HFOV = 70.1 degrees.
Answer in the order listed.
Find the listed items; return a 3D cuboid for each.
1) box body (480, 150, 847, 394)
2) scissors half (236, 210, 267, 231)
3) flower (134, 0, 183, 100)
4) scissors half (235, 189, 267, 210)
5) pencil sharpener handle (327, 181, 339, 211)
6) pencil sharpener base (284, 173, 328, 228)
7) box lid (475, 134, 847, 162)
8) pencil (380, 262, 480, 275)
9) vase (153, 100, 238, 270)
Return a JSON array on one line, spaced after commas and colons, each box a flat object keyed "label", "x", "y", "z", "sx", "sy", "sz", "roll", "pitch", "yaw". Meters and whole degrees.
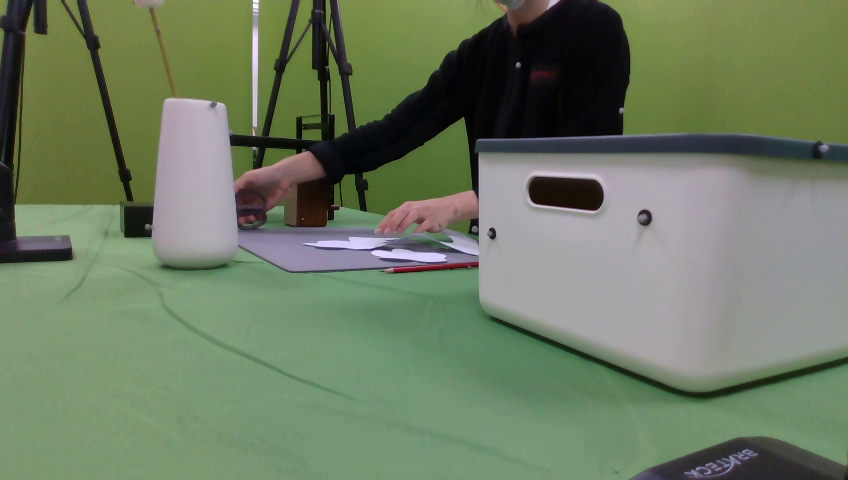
[{"label": "box body", "x": 0.254, "y": 0.002, "z": 0.539, "sx": 0.366, "sy": 0.160, "sz": 0.253, "roll": -2, "pitch": 8, "yaw": -31}, {"label": "scissors half", "x": -0.367, "y": -0.043, "z": 1.071, "sx": 0.176, "sy": 0.040, "sz": 0.012, "roll": 8, "pitch": 7, "yaw": -30}, {"label": "flower", "x": -0.282, "y": -0.147, "z": 0.713, "sx": 0.038, "sy": 0.362, "sz": 0.044, "roll": -23, "pitch": 24, "yaw": -31}, {"label": "scissors half", "x": -0.366, "y": -0.063, "z": 1.068, "sx": 0.176, "sy": 0.040, "sz": 0.013, "roll": -13, "pitch": 11, "yaw": -28}, {"label": "pencil sharpener handle", "x": -0.194, "y": -0.094, "z": 1.256, "sx": 0.031, "sy": 0.067, "sz": 0.036, "roll": -2, "pitch": -6, "yaw": -36}, {"label": "pencil sharpener base", "x": -0.239, "y": -0.081, "z": 1.231, "sx": 0.077, "sy": 0.107, "sz": 0.061, "roll": -2, "pitch": 8, "yaw": -36}, {"label": "box lid", "x": 0.256, "y": -0.073, "z": 0.528, "sx": 0.373, "sy": 0.015, "sz": 0.262, "roll": -2, "pitch": 8, "yaw": -31}, {"label": "pencil", "x": 0.030, "y": 0.036, "z": 0.794, "sx": 0.195, "sy": 0.012, "sz": 0.012, "roll": -3, "pitch": 9, "yaw": -30}, {"label": "vase", "x": -0.278, "y": -0.066, "z": 0.736, "sx": 0.098, "sy": 0.200, "sz": 0.098, "roll": 2, "pitch": 9, "yaw": 0}]
